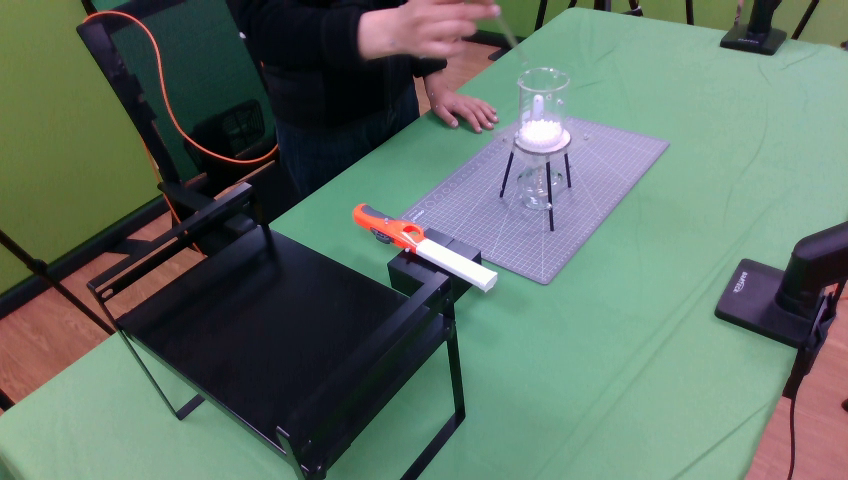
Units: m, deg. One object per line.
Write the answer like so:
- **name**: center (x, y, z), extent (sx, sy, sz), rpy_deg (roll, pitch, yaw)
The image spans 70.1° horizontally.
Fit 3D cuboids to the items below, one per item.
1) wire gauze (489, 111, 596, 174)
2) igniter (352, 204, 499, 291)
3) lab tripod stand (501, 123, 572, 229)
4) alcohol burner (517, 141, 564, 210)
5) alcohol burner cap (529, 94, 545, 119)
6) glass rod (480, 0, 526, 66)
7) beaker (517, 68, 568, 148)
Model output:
- **wire gauze**: center (0.183, -0.159, 0.943), extent (0.122, 0.011, 0.124), rpy_deg (-25, 47, -17)
- **igniter**: center (-0.009, 0.005, 0.895), extent (0.274, 0.025, 0.057), rpy_deg (27, 48, 32)
- **lab tripod stand**: center (0.195, -0.110, 0.985), extent (0.148, 0.132, 0.147), rpy_deg (-3, 42, 3)
- **alcohol burner**: center (0.193, -0.110, 1.001), extent (0.078, 0.119, 0.077), rpy_deg (-5, 38, 5)
- **alcohol burner cap**: center (0.233, -0.277, 1.247), extent (0.034, 0.048, 0.033), rpy_deg (-5, 41, 5)
- **glass rod**: center (0.080, -0.273, 0.726), extent (0.008, 0.201, 0.008), rpy_deg (-17, 56, 27)
- **beaker**: center (0.180, -0.198, 0.914), extent (0.073, 0.100, 0.084), rpy_deg (25, 49, 31)
